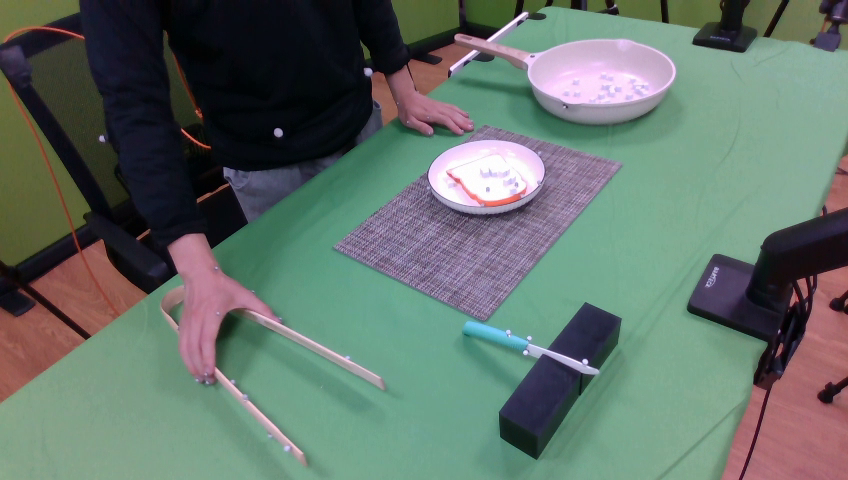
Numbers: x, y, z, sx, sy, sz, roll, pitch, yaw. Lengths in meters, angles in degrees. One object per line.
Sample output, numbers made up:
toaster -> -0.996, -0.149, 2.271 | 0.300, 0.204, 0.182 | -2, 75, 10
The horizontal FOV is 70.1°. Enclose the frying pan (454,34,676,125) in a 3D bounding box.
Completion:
frying pan -> 0.277, -0.370, 1.295 | 0.485, 0.103, 0.307 | 26, 49, 22

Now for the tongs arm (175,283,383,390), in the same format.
tongs arm -> -0.211, 0.125, 0.835 | 0.384, 0.028, 0.028 | 18, 51, 30

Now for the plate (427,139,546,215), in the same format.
plate -> 0.109, -0.106, 1.058 | 0.207, 0.039, 0.206 | -4, 40, 4

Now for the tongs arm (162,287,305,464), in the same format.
tongs arm -> -0.257, 0.163, 0.797 | 0.381, 0.026, 0.051 | 27, 52, 37

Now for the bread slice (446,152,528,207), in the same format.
bread slice -> 0.118, -0.104, 1.057 | 0.107, 0.018, 0.133 | -24, 42, -17

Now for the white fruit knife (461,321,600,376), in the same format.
white fruit knife -> 0.125, 0.133, 0.752 | 0.205, 0.027, 0.016 | 12, 43, 42
